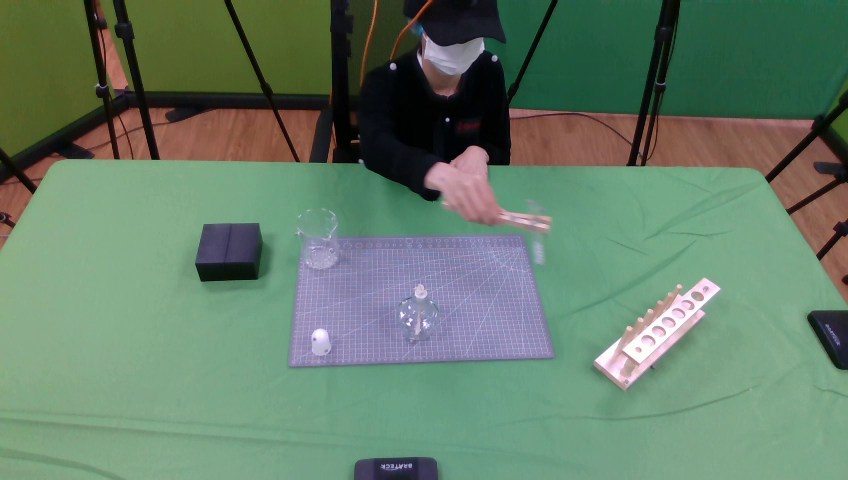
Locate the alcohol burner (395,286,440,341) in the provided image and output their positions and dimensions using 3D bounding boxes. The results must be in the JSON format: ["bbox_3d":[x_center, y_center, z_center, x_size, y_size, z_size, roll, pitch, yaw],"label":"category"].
[{"bbox_3d":[-0.010,0.116,1.018,0.078,0.119,0.077,3,47,-3],"label":"alcohol burner"}]

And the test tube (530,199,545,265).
[{"bbox_3d":[0.182,-0.009,0.963,0.017,0.151,0.017,-7,48,9],"label":"test tube"}]

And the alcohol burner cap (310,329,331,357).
[{"bbox_3d":[-0.173,0.168,1.005,0.034,0.048,0.033,2,46,-2],"label":"alcohol burner cap"}]

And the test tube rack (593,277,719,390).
[{"bbox_3d":[0.401,0.148,1.043,0.242,0.085,0.066,-30,55,-29],"label":"test tube rack"}]

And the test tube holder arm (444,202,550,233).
[{"bbox_3d":[0.113,-0.037,0.966,0.178,0.015,0.013,13,52,22],"label":"test tube holder arm"}]

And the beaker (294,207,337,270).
[{"bbox_3d":[-0.196,0.003,1.123,0.074,0.101,0.083,-23,53,-24],"label":"beaker"}]

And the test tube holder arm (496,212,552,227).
[{"bbox_3d":[0.157,-0.033,0.953,0.087,0.015,0.010,6,51,17],"label":"test tube holder arm"}]
